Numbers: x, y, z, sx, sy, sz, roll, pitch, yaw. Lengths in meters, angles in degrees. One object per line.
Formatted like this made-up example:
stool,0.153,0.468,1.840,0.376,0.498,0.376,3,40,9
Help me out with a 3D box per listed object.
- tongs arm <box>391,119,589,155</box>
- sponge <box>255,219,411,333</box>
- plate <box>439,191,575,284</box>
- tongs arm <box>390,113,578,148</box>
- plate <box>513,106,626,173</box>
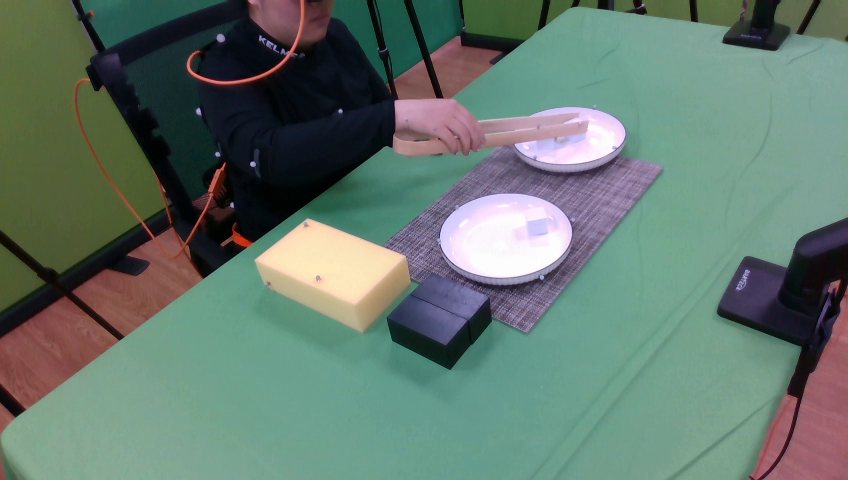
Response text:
tongs arm,0.126,-0.187,1.067,0.387,0.026,0.050,-13,38,-26
sponge,-0.139,0.048,0.922,0.205,0.061,0.118,19,47,30
plate,0.129,-0.002,0.942,0.207,0.039,0.206,-5,40,5
tongs arm,0.117,-0.200,1.085,0.390,0.028,0.028,-10,40,-22
plate,0.269,-0.185,1.132,0.209,0.038,0.208,-5,40,5
